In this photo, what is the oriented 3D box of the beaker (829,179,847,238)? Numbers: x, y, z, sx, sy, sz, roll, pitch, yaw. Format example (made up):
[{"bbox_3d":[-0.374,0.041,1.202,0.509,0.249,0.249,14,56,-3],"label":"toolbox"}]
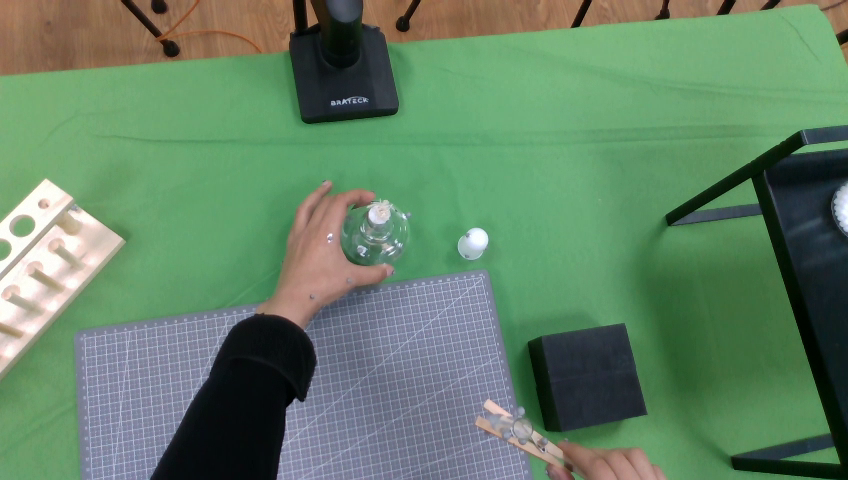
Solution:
[{"bbox_3d":[0.441,-0.041,0.564,0.084,0.100,0.073,21,72,-2],"label":"beaker"}]

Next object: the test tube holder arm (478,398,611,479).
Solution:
[{"bbox_3d":[0.123,0.185,0.505,0.178,0.015,0.013,31,83,6],"label":"test tube holder arm"}]

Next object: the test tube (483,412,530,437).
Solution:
[{"bbox_3d":[0.064,0.150,0.496,0.017,0.151,0.017,1,75,-3],"label":"test tube"}]

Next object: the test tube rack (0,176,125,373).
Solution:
[{"bbox_3d":[-0.414,0.060,0.586,0.067,0.085,0.241,36,72,2],"label":"test tube rack"}]

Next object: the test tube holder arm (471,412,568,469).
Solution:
[{"bbox_3d":[0.081,0.168,0.509,0.087,0.015,0.010,24,81,5],"label":"test tube holder arm"}]

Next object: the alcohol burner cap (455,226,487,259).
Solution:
[{"bbox_3d":[0.057,0.001,0.706,0.034,0.048,0.033,3,73,-9],"label":"alcohol burner cap"}]

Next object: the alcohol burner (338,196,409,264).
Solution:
[{"bbox_3d":[-0.053,-0.016,0.655,0.078,0.119,0.077,3,73,-10],"label":"alcohol burner"}]
